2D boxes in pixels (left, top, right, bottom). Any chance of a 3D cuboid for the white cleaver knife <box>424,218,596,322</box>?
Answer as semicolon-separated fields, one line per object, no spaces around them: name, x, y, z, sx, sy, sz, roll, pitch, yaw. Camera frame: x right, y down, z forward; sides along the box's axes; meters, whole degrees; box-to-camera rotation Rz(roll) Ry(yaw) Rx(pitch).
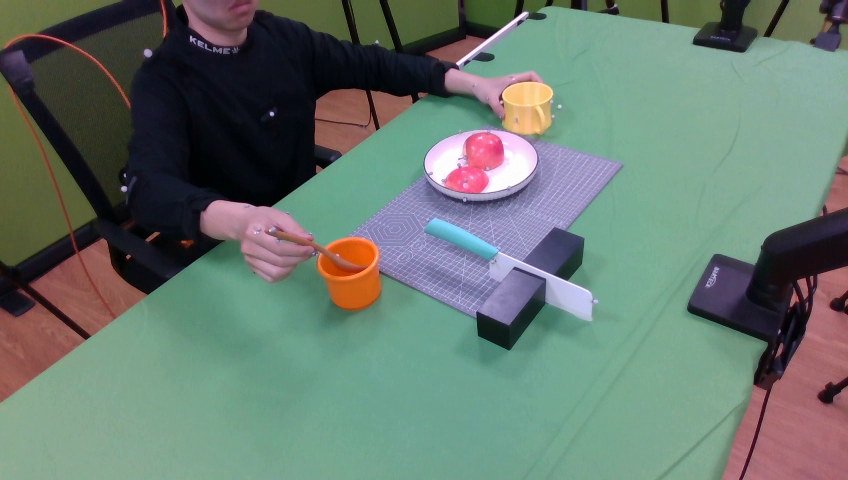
white cleaver knife;0.114;0.042;0.865;0.284;0.066;0.021;27;47;28

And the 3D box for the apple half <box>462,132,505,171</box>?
apple half;0.109;-0.170;1.110;0.075;0.053;0.080;-6;40;-2

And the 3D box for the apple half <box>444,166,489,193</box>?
apple half;0.074;-0.112;1.062;0.081;0.033;0.081;-6;39;5

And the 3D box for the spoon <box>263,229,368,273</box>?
spoon;-0.142;0.015;0.808;0.041;0.195;0.021;0;71;34

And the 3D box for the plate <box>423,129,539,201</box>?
plate;0.103;-0.132;1.092;0.209;0.038;0.208;-4;40;4

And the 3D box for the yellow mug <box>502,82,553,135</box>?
yellow mug;0.213;-0.256;1.203;0.100;0.064;0.130;-17;42;-9
